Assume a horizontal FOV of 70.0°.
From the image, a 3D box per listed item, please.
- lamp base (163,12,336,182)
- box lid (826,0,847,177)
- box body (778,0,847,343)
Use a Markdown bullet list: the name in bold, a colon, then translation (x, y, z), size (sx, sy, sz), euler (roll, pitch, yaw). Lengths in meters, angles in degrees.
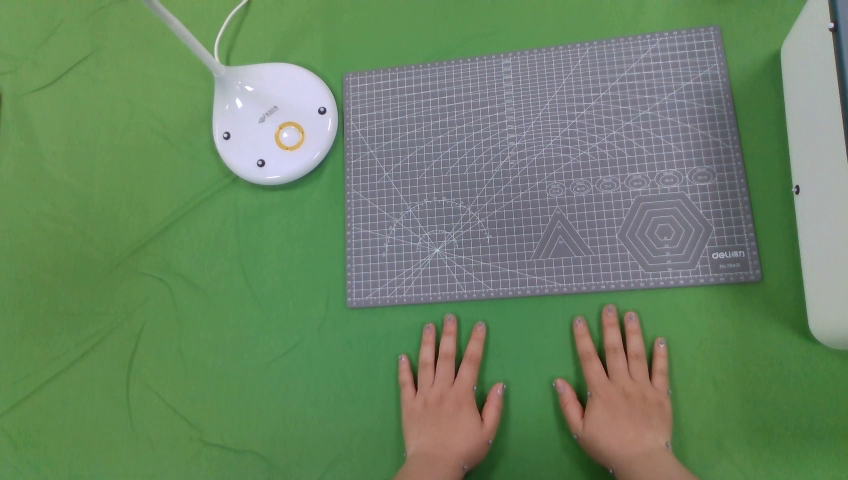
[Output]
- **lamp base**: translation (-0.211, -0.173, 0.688), size (0.178, 0.181, 0.160), euler (35, 85, 18)
- **box lid**: translation (0.477, -0.103, 0.481), size (0.263, 0.015, 0.369), euler (-1, 78, 10)
- **box body**: translation (0.490, -0.084, 0.551), size (0.254, 0.161, 0.362), euler (-1, 77, 10)
